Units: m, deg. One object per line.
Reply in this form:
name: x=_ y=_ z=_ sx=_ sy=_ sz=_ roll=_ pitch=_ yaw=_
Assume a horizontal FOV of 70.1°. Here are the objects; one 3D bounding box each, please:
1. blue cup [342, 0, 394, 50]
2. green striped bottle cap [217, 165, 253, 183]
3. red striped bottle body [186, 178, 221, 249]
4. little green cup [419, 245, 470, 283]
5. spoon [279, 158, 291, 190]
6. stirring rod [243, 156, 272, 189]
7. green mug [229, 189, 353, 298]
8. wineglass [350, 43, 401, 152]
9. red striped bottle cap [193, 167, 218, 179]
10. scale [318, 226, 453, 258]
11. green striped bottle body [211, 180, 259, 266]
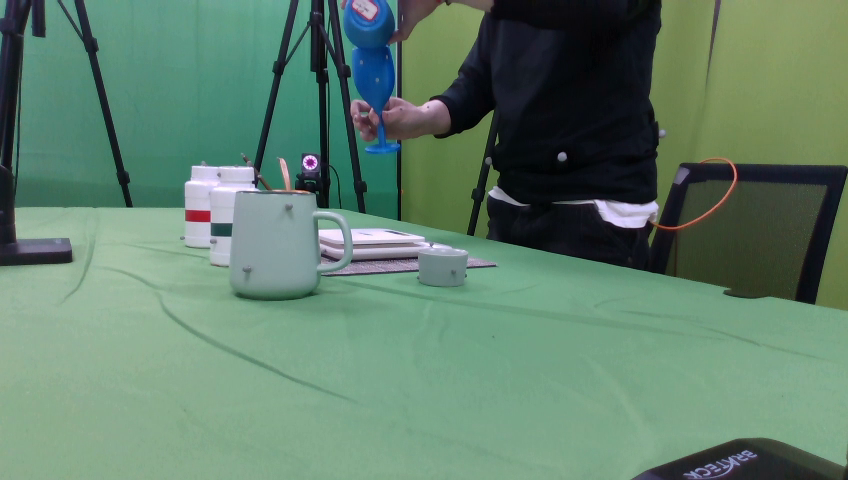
blue cup: x=-0.089 y=-0.346 z=0.939 sx=0.093 sy=0.092 sz=0.100 roll=1 pitch=9 yaw=-3
green striped bottle cap: x=-0.242 y=-0.085 z=0.777 sx=0.044 sy=0.020 sz=0.044 roll=2 pitch=9 yaw=0
red striped bottle body: x=-0.331 y=-0.049 z=0.928 sx=0.063 sy=0.119 sz=0.063 roll=2 pitch=7 yaw=0
little green cup: x=0.023 y=0.028 z=0.712 sx=0.061 sy=0.038 sz=0.061 roll=1 pitch=6 yaw=0
spoon: x=-0.280 y=-0.103 z=1.251 sx=0.042 sy=0.193 sz=0.021 roll=8 pitch=-40 yaw=-30
stirring rod: x=-0.304 y=-0.099 z=1.201 sx=0.006 sy=0.177 sz=0.014 roll=-27 pitch=37 yaw=7
green mug: x=-0.135 y=0.002 z=0.618 sx=0.125 sy=0.105 sz=0.092 roll=2 pitch=7 yaw=4
wineglass: x=-0.081 y=-0.243 z=1.033 sx=0.074 sy=0.172 sz=0.073 roll=-6 pitch=21 yaw=2
red striped bottle cap: x=-0.329 y=-0.103 z=0.921 sx=0.044 sy=0.017 sz=0.044 roll=-1 pitch=9 yaw=0
scale: x=-0.066 y=0.001 z=0.906 sx=0.202 sy=0.031 sz=0.148 roll=-2 pitch=8 yaw=-31
green striped bottle body: x=-0.243 y=-0.029 z=0.784 sx=0.063 sy=0.119 sz=0.063 roll=2 pitch=7 yaw=0
